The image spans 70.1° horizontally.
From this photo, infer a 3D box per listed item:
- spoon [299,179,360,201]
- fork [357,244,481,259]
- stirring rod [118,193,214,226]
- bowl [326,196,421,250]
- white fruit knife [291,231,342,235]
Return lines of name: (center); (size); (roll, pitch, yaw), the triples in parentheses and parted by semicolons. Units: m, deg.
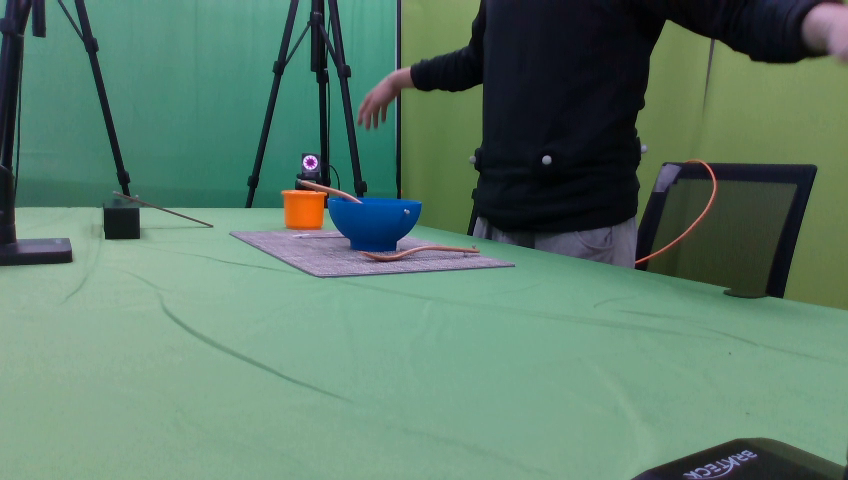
spoon: (-0.124, -0.068, 0.993); (0.193, 0.021, 0.042); (25, 9, 17)
fork: (-0.001, 0.016, 0.877); (0.208, 0.018, 0.028); (-5, 0, -33)
stirring rod: (-0.484, -0.056, 1.142); (0.177, 0.006, 0.014); (21, -6, -28)
bowl: (-0.080, -0.027, 0.957); (0.151, 0.077, 0.151); (2, 7, 0)
white fruit knife: (-0.139, -0.016, 1.092); (0.208, 0.016, 0.027); (-3, -3, -29)
